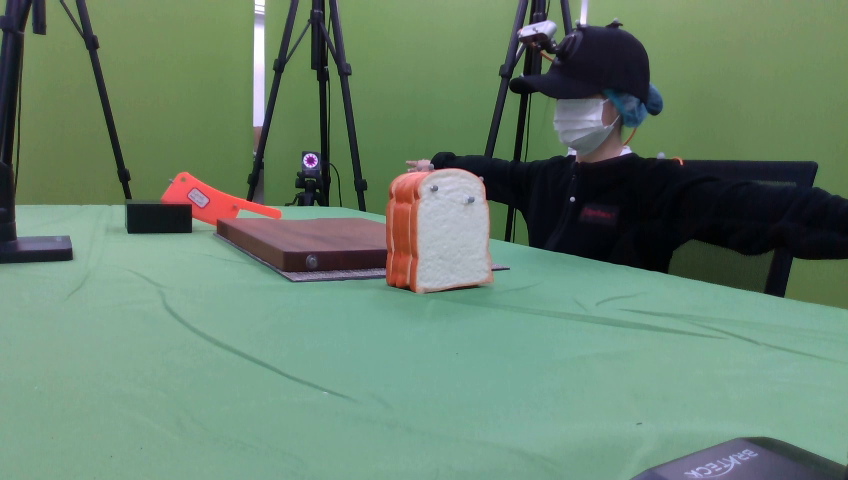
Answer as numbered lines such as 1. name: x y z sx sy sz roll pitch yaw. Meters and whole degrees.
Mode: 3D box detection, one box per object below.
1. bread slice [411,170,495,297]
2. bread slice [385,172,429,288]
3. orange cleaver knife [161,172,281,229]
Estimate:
1. bread slice: 0.028 -0.009 0.660 0.107 0.134 0.018 -9 7 -36
2. bread slice: 0.001 -0.013 0.704 0.105 0.131 0.019 -1 1 -33
3. orange cleaver knife: -0.372 -0.061 1.121 0.212 0.077 0.012 20 -6 -30
